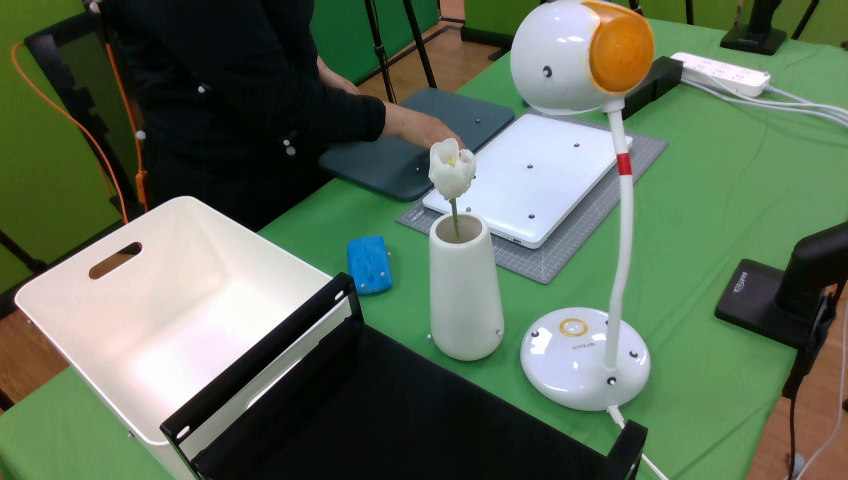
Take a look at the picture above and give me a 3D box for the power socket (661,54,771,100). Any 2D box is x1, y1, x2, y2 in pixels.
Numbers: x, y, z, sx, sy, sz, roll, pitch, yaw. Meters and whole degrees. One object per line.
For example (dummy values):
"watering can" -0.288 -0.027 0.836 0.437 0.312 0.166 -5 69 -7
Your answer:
"power socket" 0.615 -0.348 1.285 0.072 0.033 0.225 -36 48 -29

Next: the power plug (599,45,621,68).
"power plug" 0.437 -0.422 1.412 0.053 0.035 0.072 -17 74 -47

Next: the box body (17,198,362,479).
"box body" -0.285 0.123 0.766 0.361 0.161 0.255 25 49 33

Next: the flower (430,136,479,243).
"flower" 0.041 0.011 0.691 0.044 0.363 0.038 16 63 14

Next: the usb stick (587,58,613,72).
"usb stick" 0.401 -0.399 1.380 0.059 0.027 0.021 1 48 20

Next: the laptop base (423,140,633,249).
"laptop base" 0.194 -0.117 1.087 0.233 0.023 0.355 20 47 34

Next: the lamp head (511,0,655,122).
"lamp head" 0.155 -0.168 0.564 0.113 0.113 0.122 -18 23 -12

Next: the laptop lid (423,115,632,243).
"laptop lid" 0.190 -0.126 1.081 0.239 0.013 0.358 23 48 34

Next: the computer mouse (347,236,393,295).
"computer mouse" -0.086 0.035 0.936 0.063 0.041 0.116 -9 44 -5

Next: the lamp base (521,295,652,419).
"lamp base" 0.201 0.095 0.710 0.161 0.181 0.177 -16 43 -10

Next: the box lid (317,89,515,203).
"box lid" -0.009 -0.207 1.236 0.261 0.015 0.372 23 49 32

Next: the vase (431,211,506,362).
"vase" 0.054 0.062 0.757 0.098 0.201 0.097 -3 40 3

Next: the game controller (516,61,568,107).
"game controller" 0.260 -0.352 1.336 0.097 0.052 0.154 -3 41 2
